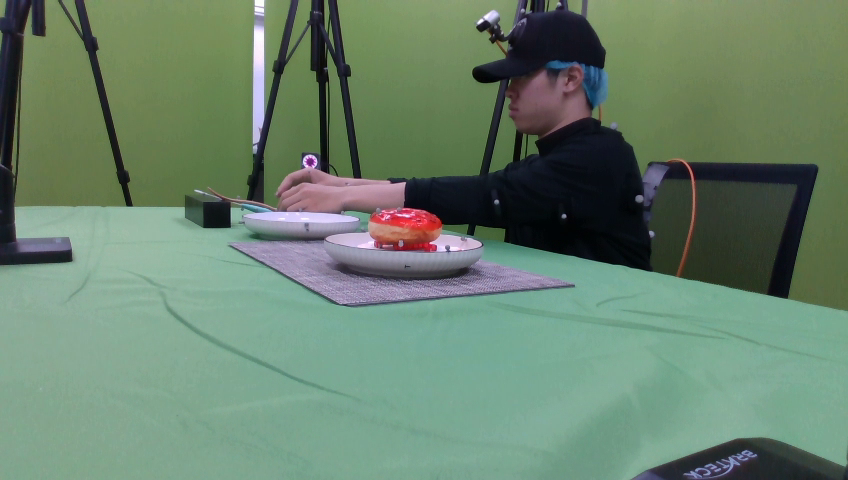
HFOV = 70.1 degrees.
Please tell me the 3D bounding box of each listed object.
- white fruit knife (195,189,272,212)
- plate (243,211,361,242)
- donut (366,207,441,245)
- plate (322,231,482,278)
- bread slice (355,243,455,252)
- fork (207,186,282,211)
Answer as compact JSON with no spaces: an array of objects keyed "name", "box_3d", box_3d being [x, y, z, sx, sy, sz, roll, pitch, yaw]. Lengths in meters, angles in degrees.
[{"name":"white fruit knife","box_3d":[-0.378,-0.073,1.270,0.208,0.016,0.027,18,-4,-32]},{"name":"plate","box_3d":[-0.219,-0.025,1.091,0.208,0.039,0.207,3,7,0]},{"name":"donut","box_3d":[-0.027,-0.017,0.786,0.099,0.048,0.099,2,7,0]},{"name":"plate","box_3d":[-0.028,0.018,0.789,0.209,0.038,0.209,3,7,0]},{"name":"bread slice","box_3d":[-0.027,0.020,0.794,0.131,0.019,0.105,6,7,17]},{"name":"fork","box_3d":[-0.342,-0.071,1.243,0.208,0.018,0.028,18,-12,-24]}]
